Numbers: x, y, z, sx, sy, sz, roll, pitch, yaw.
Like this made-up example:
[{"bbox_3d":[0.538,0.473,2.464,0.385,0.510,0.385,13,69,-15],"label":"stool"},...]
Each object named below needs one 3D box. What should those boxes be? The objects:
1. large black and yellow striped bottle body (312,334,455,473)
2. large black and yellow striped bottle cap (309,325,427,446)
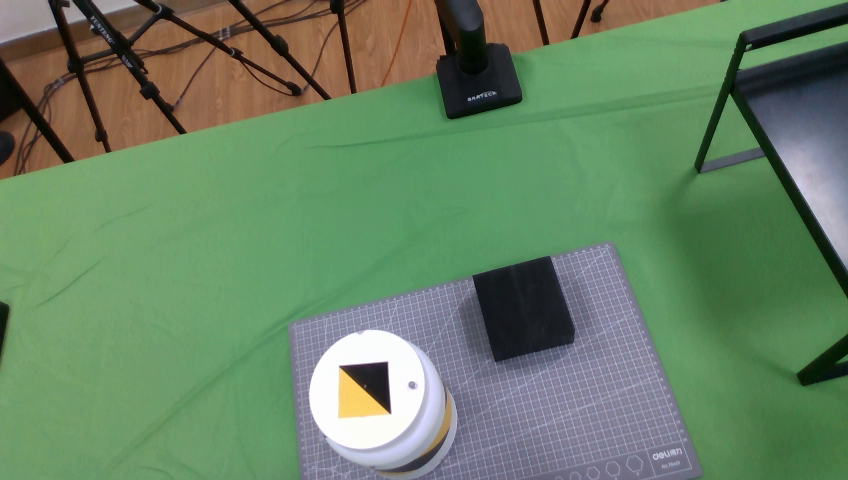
[{"bbox_3d":[-0.041,0.176,0.659,0.130,0.185,0.129,-4,63,9],"label":"large black and yellow striped bottle body"},{"bbox_3d":[-0.054,0.139,0.585,0.115,0.019,0.114,-5,64,10],"label":"large black and yellow striped bottle cap"}]
